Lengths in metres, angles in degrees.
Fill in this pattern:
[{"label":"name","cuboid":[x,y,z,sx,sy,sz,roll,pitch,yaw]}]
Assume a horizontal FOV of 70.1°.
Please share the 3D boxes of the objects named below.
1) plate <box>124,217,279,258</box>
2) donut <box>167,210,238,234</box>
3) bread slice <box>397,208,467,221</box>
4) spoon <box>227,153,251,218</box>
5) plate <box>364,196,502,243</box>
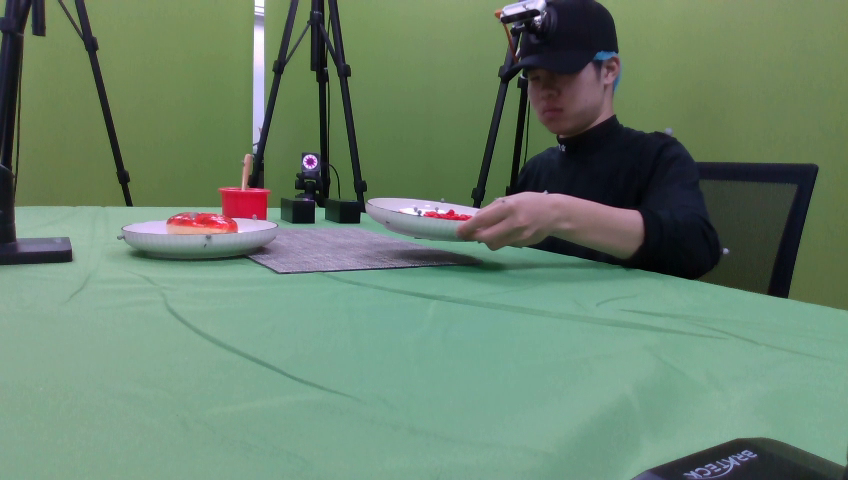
[{"label":"plate","cuboid":[-0.315,-0.004,0.871,0.208,0.039,0.207,1,8,0]},{"label":"donut","cuboid":[-0.321,-0.017,0.882,0.099,0.048,0.099,3,6,0]},{"label":"bread slice","cuboid":[0.015,-0.028,0.908,0.105,0.019,0.131,2,13,-30]},{"label":"spoon","cuboid":[-0.363,-0.107,1.211,0.042,0.021,0.193,-1,47,-7]},{"label":"plate","cuboid":[0.012,-0.031,0.907,0.209,0.038,0.209,8,10,-1]}]
